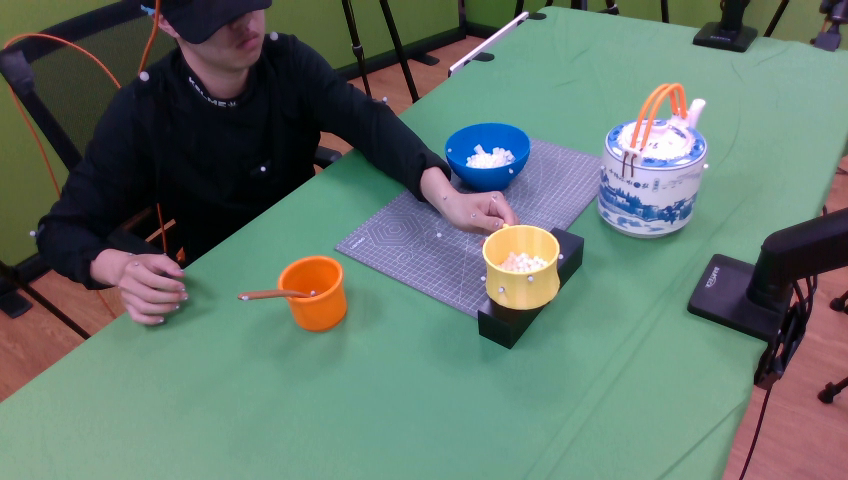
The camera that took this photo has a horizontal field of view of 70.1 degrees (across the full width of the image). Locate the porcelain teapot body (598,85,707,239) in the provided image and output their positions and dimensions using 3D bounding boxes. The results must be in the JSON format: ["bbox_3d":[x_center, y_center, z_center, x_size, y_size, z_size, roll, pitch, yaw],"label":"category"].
[{"bbox_3d":[0.362,-0.137,0.921,0.144,0.226,0.206,29,51,36],"label":"porcelain teapot body"}]

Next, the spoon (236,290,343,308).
[{"bbox_3d":[-0.176,0.076,0.808,0.041,0.195,0.021,23,93,30],"label":"spoon"}]

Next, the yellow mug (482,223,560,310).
[{"bbox_3d":[0.125,0.026,0.810,0.100,0.064,0.130,-14,38,-7],"label":"yellow mug"}]

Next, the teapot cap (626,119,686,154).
[{"bbox_3d":[0.338,-0.153,0.882,0.085,0.044,0.085,-3,38,3],"label":"teapot cap"}]

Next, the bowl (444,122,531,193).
[{"bbox_3d":[0.113,-0.136,1.063,0.151,0.077,0.150,-4,41,4],"label":"bowl"}]
